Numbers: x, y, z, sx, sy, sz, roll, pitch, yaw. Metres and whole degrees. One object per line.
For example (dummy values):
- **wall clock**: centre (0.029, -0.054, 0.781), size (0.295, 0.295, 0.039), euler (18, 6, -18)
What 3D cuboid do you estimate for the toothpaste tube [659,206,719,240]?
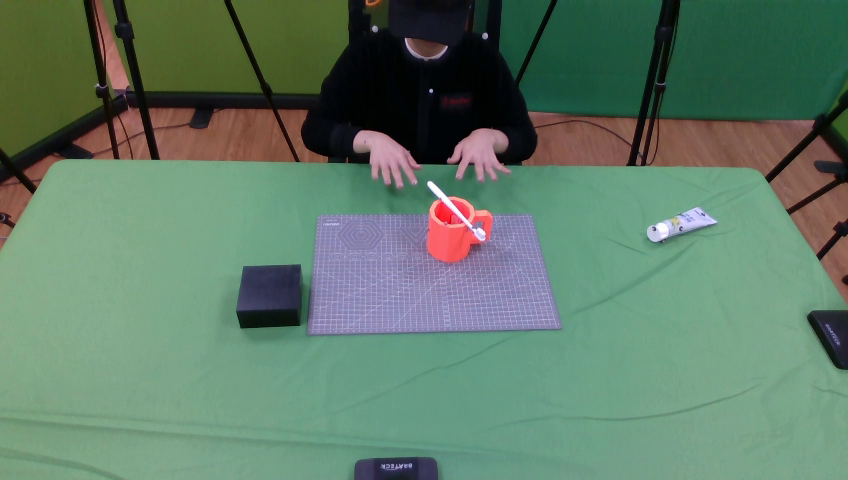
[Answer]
- **toothpaste tube**: centre (0.542, -0.035, 1.259), size (0.165, 0.034, 0.054), euler (-19, 55, -26)

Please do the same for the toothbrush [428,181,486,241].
- **toothbrush**: centre (0.059, -0.058, 1.125), size (0.014, 0.017, 0.180), euler (-24, 52, -24)

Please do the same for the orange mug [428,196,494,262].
- **orange mug**: centre (0.070, -0.023, 1.164), size (0.126, 0.101, 0.083), euler (-7, 46, -5)

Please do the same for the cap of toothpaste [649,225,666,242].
- **cap of toothpaste**: centre (0.473, -0.015, 1.226), size (0.011, 0.037, 0.037), euler (-20, 50, -26)
